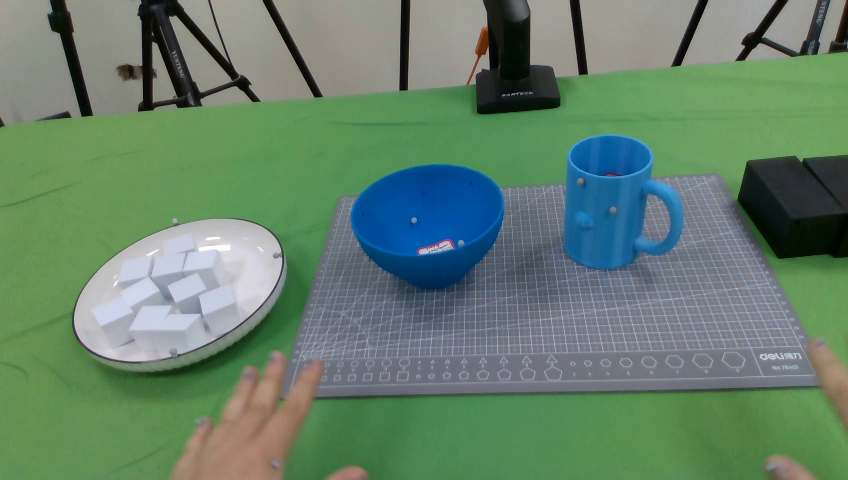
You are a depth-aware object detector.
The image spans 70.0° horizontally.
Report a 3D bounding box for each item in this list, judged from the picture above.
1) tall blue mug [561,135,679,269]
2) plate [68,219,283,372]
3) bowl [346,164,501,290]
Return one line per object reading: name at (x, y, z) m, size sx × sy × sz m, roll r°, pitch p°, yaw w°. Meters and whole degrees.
tall blue mug at (0.189, -0.034, 0.588) m, size 0.107 × 0.109 × 0.077 m, roll 5°, pitch 40°, yaw 16°
plate at (-0.244, 0.055, 0.615) m, size 0.209 × 0.038 × 0.207 m, roll -4°, pitch 39°, yaw 4°
bowl at (0.004, -0.003, 0.607) m, size 0.151 × 0.077 × 0.150 m, roll -5°, pitch 39°, yaw 4°
